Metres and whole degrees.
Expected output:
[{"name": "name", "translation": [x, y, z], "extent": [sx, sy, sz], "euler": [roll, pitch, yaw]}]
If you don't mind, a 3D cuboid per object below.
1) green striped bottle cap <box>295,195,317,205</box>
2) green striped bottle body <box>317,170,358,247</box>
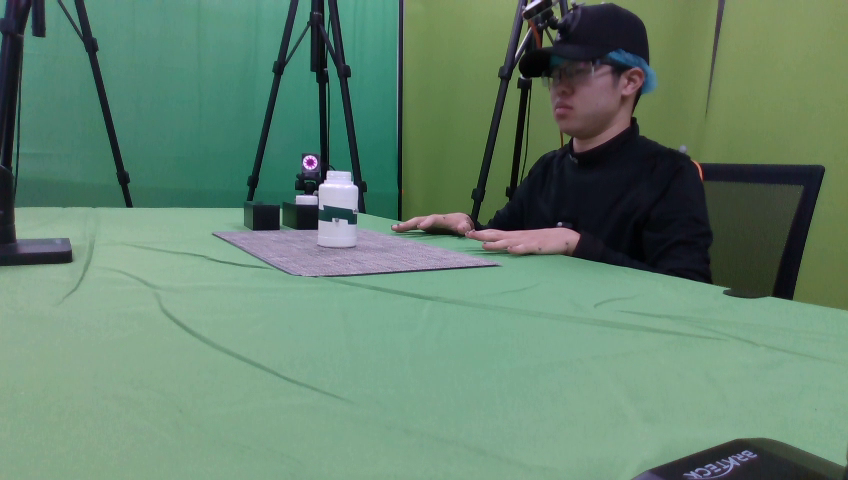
[{"name": "green striped bottle cap", "translation": [-0.240, -0.082, 1.228], "extent": [0.044, 0.020, 0.044], "euler": [1, 4, 0]}, {"name": "green striped bottle body", "translation": [-0.138, -0.051, 0.964], "extent": [0.063, 0.119, 0.063], "euler": [2, 7, 0]}]
